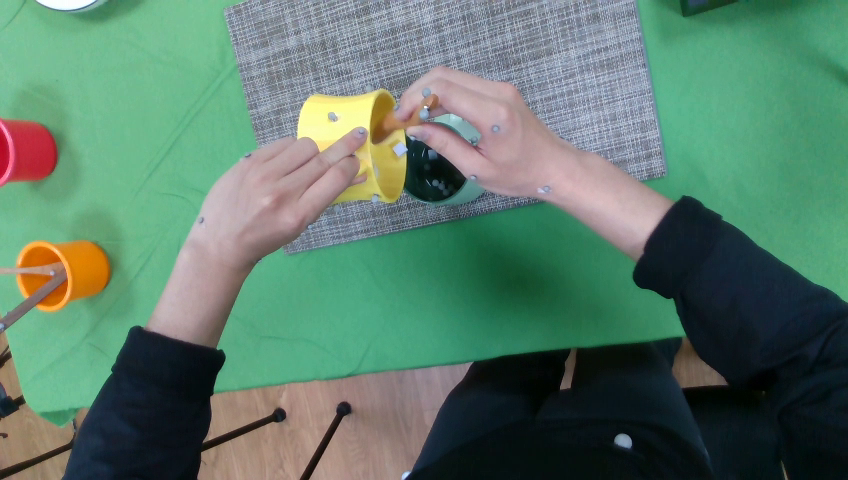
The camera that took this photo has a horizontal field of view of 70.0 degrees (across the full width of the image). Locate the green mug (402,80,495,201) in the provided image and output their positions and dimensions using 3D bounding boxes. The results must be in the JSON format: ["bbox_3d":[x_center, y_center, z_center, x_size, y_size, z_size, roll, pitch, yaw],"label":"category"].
[{"bbox_3d":[0.022,-0.100,0.622,0.092,0.105,0.125,6,100,16],"label":"green mug"}]

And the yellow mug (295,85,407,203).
[{"bbox_3d":[-0.065,-0.077,0.528,0.064,0.130,0.101,-2,118,18],"label":"yellow mug"}]

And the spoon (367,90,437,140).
[{"bbox_3d":[-0.017,-0.096,0.463,0.041,0.192,0.022,-47,107,-6],"label":"spoon"}]

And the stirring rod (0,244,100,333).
[{"bbox_3d":[-0.496,0.068,0.785,0.014,0.006,0.175,39,65,6],"label":"stirring rod"}]

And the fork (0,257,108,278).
[{"bbox_3d":[-0.526,0.037,0.782,0.208,0.018,0.028,0,98,-28],"label":"fork"}]

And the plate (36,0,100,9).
[{"bbox_3d":[-0.436,-0.392,0.746,0.207,0.039,0.208,3,100,16],"label":"plate"}]
